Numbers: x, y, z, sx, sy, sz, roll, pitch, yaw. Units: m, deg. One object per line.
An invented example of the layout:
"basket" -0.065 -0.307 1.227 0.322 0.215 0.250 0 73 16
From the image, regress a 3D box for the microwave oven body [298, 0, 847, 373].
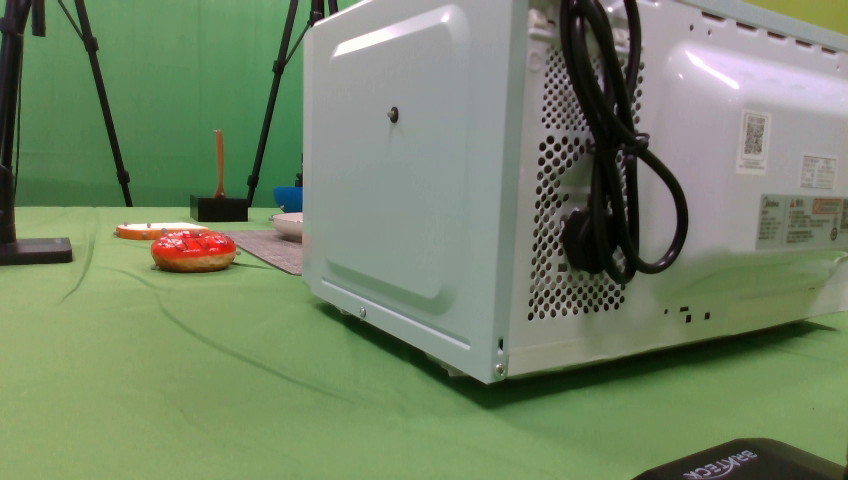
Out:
"microwave oven body" 0.151 -0.055 0.542 0.444 0.260 0.324 -2 7 -33

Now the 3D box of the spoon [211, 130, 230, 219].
"spoon" -0.436 -0.138 1.296 0.042 0.193 0.021 -3 23 -27

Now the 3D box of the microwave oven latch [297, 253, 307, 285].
"microwave oven latch" -0.082 0.027 0.582 0.079 0.029 0.030 -1 7 -32

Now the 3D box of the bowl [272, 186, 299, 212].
"bowl" -0.254 -0.075 1.318 0.151 0.077 0.151 2 7 0

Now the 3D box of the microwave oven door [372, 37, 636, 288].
"microwave oven door" 0.109 -0.080 0.686 0.358 0.243 0.039 -2 9 -33

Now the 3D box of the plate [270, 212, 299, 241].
"plate" -0.162 -0.022 1.057 0.208 0.039 0.207 3 7 0

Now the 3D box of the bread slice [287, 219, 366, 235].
"bread slice" -0.170 -0.023 1.056 0.134 0.018 0.107 1 7 -6

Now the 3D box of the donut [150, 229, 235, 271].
"donut" -0.285 0.013 0.747 0.099 0.048 0.099 3 10 0

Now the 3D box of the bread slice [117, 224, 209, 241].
"bread slice" -0.443 -0.015 1.022 0.132 0.019 0.104 -3 8 -45
